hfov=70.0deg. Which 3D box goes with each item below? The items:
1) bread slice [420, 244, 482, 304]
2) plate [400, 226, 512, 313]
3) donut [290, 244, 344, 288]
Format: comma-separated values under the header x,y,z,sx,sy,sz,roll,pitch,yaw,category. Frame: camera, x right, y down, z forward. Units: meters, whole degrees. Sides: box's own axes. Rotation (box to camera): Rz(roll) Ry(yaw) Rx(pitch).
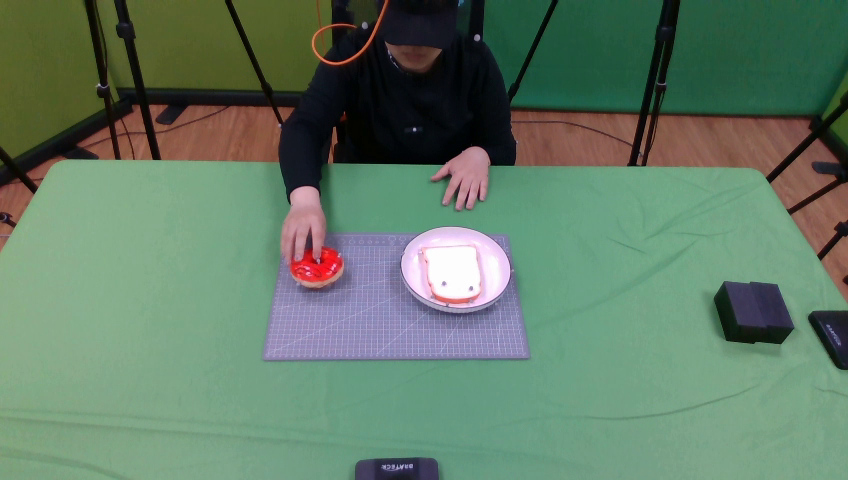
x,y,z,sx,sy,sz,roll,pitch,yaw,category
0.056,0.062,1.131,0.107,0.018,0.133,-6,46,-8,bread slice
0.057,0.057,1.134,0.209,0.038,0.208,2,46,-2,plate
-0.195,0.047,1.108,0.099,0.048,0.098,1,38,0,donut
